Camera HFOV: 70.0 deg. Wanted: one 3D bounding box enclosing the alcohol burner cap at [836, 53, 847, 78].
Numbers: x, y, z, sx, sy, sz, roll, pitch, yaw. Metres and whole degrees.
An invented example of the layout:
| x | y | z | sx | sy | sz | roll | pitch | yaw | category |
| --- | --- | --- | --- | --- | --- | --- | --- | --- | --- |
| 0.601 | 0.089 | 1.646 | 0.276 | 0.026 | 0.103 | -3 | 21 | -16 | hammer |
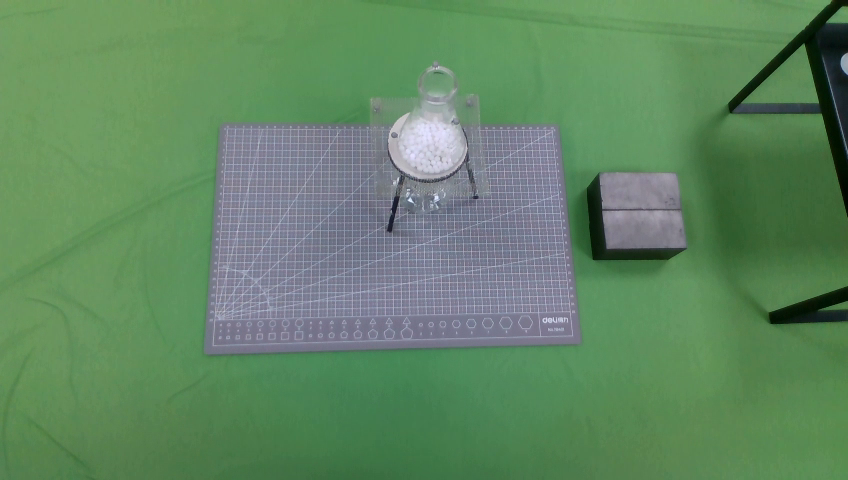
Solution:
| x | y | z | sx | sy | sz | roll | pitch | yaw | category |
| --- | --- | --- | --- | --- | --- | --- | --- | --- | --- |
| 0.477 | -0.199 | 0.654 | 0.034 | 0.048 | 0.033 | 1 | 74 | -4 | alcohol burner cap |

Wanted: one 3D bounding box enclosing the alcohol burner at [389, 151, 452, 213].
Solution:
| x | y | z | sx | sy | sz | roll | pitch | yaw | category |
| --- | --- | --- | --- | --- | --- | --- | --- | --- | --- |
| -0.003 | -0.076 | 0.728 | 0.078 | 0.119 | 0.077 | 1 | 74 | -2 | alcohol burner |

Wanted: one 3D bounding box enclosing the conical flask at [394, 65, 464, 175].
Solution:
| x | y | z | sx | sy | sz | roll | pitch | yaw | category |
| --- | --- | --- | --- | --- | --- | --- | --- | --- | --- |
| 0.008 | -0.121 | 0.601 | 0.075 | 0.122 | 0.075 | 1 | 71 | -3 | conical flask |

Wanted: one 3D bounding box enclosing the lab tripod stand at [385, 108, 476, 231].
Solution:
| x | y | z | sx | sy | sz | roll | pitch | yaw | category |
| --- | --- | --- | --- | --- | --- | --- | --- | --- | --- |
| -0.004 | -0.088 | 0.722 | 0.148 | 0.132 | 0.147 | 1 | 73 | -2 | lab tripod stand |

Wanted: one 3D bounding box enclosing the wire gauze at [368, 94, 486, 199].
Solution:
| x | y | z | sx | sy | sz | roll | pitch | yaw | category |
| --- | --- | --- | --- | --- | --- | --- | --- | --- | --- |
| 0.003 | -0.103 | 0.658 | 0.125 | 0.011 | 0.121 | -1 | 75 | -7 | wire gauze |
